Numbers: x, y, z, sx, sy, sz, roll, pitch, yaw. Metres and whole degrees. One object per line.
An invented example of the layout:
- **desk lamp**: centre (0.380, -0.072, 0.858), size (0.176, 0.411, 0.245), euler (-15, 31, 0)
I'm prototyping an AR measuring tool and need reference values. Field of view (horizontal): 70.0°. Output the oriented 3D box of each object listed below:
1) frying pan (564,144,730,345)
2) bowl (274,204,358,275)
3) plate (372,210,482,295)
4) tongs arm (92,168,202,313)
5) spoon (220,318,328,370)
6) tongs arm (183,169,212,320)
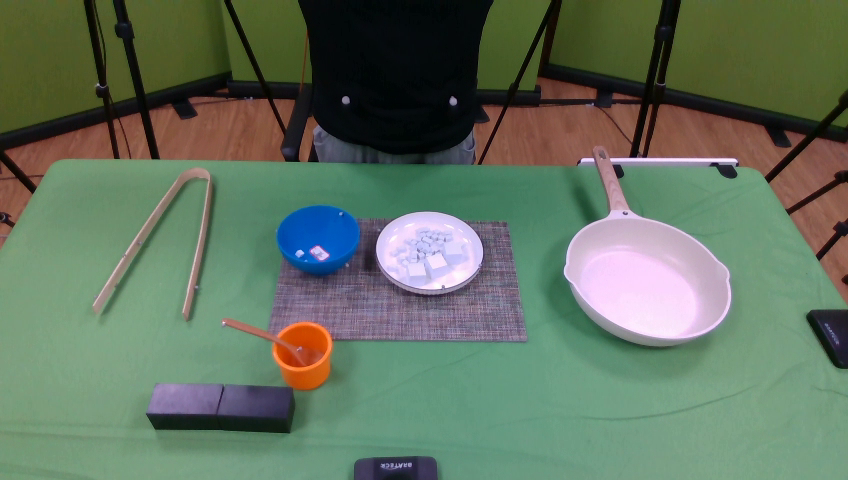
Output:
- **frying pan**: centre (0.396, -0.008, 1.179), size (0.307, 0.103, 0.484), euler (0, 55, -5)
- **bowl**: centre (-0.197, 0.012, 1.126), size (0.151, 0.077, 0.150), euler (2, 46, -2)
- **plate**: centre (0.005, 0.028, 1.155), size (0.208, 0.039, 0.206), euler (3, 46, -2)
- **tongs arm**: centre (-0.518, -0.013, 1.161), size (0.051, 0.026, 0.382), euler (7, 45, 1)
- **spoon**: centre (-0.229, 0.158, 0.940), size (0.021, 0.195, 0.041), euler (-36, 39, 22)
- **tongs arm**: centre (-0.437, -0.006, 1.166), size (0.028, 0.028, 0.385), euler (-5, 47, -6)
